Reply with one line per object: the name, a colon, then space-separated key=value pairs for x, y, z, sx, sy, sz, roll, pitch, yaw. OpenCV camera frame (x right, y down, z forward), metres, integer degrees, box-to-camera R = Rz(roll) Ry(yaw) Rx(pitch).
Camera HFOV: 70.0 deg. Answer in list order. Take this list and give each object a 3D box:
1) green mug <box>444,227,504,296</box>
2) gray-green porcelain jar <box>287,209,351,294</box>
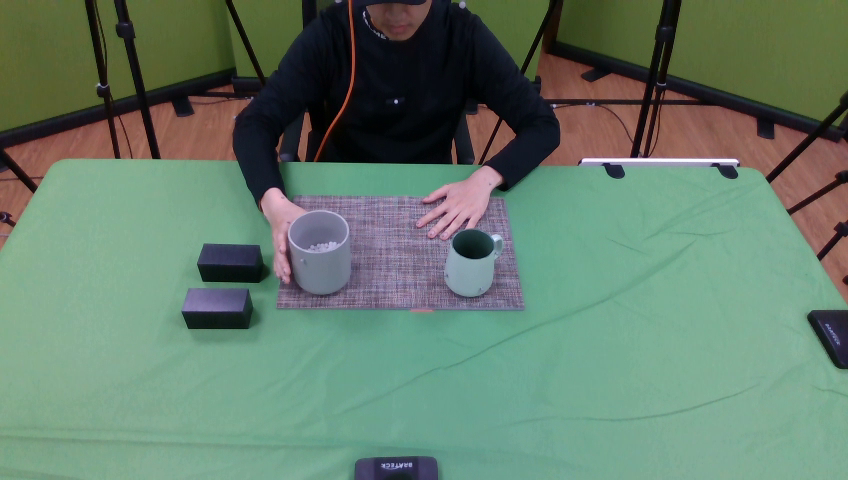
green mug: x=0.097 y=0.033 z=1.110 sx=0.125 sy=0.105 sz=0.092 roll=-31 pitch=55 yaw=-29
gray-green porcelain jar: x=-0.184 y=0.026 z=1.080 sx=0.106 sy=0.127 sz=0.105 roll=2 pitch=47 yaw=-2
